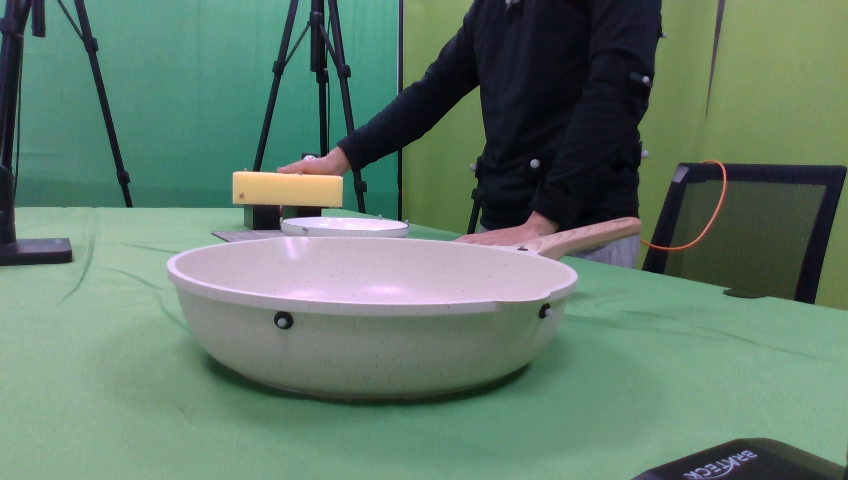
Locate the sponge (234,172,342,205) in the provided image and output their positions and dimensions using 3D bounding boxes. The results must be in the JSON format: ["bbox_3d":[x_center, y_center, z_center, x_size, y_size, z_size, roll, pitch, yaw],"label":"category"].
[{"bbox_3d":[-0.273,-0.105,1.223,0.207,0.061,0.118,0,7,-14],"label":"sponge"}]

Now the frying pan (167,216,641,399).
[{"bbox_3d":[0.046,0.024,0.519,0.490,0.102,0.305,-14,16,-37],"label":"frying pan"}]

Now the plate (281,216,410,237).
[{"bbox_3d":[-0.126,-0.012,0.986,0.208,0.039,0.207,2,7,0],"label":"plate"}]
